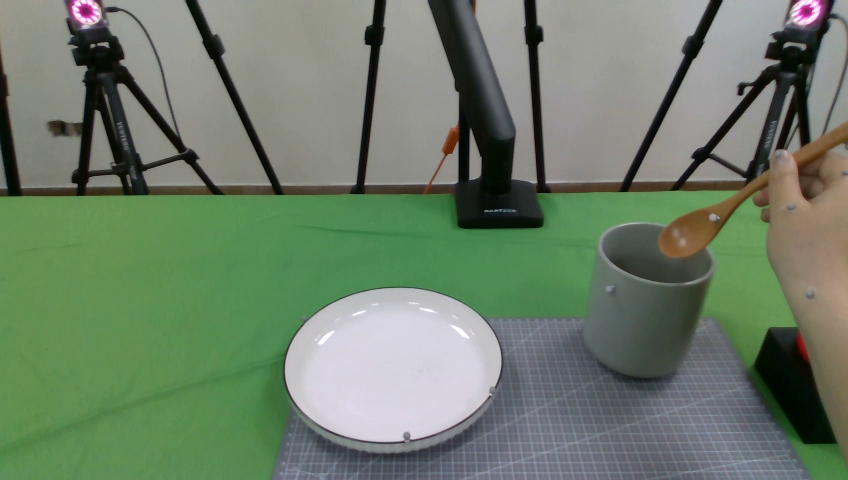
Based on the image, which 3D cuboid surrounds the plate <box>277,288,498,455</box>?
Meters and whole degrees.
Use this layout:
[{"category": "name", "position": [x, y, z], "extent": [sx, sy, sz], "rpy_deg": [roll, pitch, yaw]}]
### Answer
[{"category": "plate", "position": [-0.034, 0.125, 0.584], "extent": [0.208, 0.039, 0.205], "rpy_deg": [1, 34, 0]}]

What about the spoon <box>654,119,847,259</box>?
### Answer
[{"category": "spoon", "position": [0.260, -0.039, 0.477], "extent": [0.022, 0.194, 0.041], "rpy_deg": [16, 53, -21]}]

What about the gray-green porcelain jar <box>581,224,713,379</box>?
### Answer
[{"category": "gray-green porcelain jar", "position": [0.213, 0.064, 0.597], "extent": [0.106, 0.127, 0.105], "rpy_deg": [0, 34, 0]}]
